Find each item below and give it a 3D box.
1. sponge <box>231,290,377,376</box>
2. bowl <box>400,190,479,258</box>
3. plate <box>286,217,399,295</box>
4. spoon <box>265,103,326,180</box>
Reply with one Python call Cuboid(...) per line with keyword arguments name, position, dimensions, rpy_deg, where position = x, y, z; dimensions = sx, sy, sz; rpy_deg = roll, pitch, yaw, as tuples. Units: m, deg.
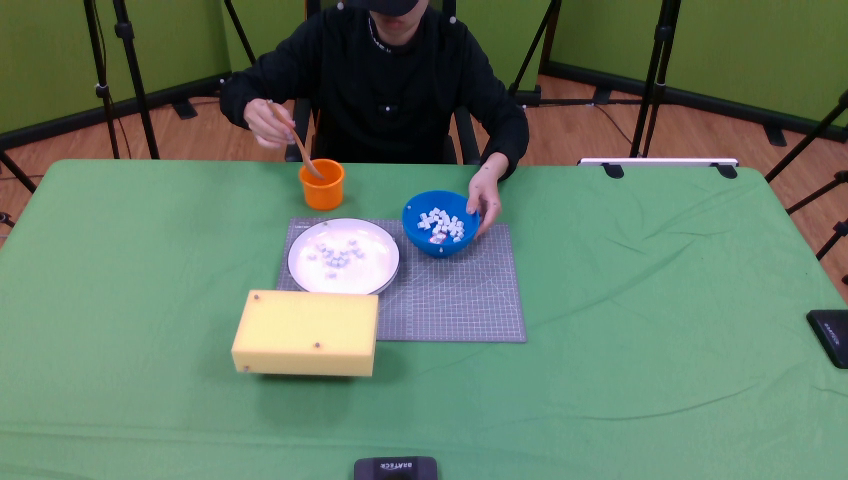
Cuboid(name="sponge", position=(-0.180, 0.144, 0.949), dimensions=(0.207, 0.061, 0.117), rpy_deg=(2, 46, -2))
Cuboid(name="bowl", position=(0.028, -0.019, 1.175), dimensions=(0.151, 0.077, 0.150), rpy_deg=(2, 46, -2))
Cuboid(name="plate", position=(-0.150, 0.041, 1.131), dimensions=(0.209, 0.038, 0.208), rpy_deg=(2, 46, -2))
Cuboid(name="spoon", position=(-0.244, -0.184, 1.154), dimensions=(0.021, 0.195, 0.041), rpy_deg=(-41, 39, -15))
